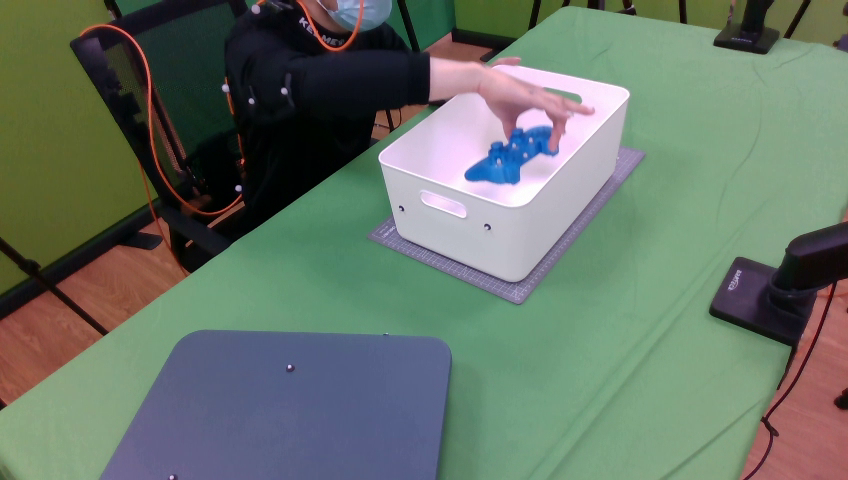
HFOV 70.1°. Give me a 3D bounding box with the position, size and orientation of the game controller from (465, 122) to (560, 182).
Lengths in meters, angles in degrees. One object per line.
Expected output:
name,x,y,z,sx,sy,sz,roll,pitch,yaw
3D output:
game controller,0.141,-0.142,0.941,0.155,0.052,0.096,-36,37,-26

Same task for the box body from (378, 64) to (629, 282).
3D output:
box body,0.137,-0.121,0.978,0.252,0.161,0.365,22,48,30

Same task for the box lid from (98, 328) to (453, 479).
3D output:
box lid,-0.156,0.209,0.689,0.371,0.015,0.262,1,41,9
